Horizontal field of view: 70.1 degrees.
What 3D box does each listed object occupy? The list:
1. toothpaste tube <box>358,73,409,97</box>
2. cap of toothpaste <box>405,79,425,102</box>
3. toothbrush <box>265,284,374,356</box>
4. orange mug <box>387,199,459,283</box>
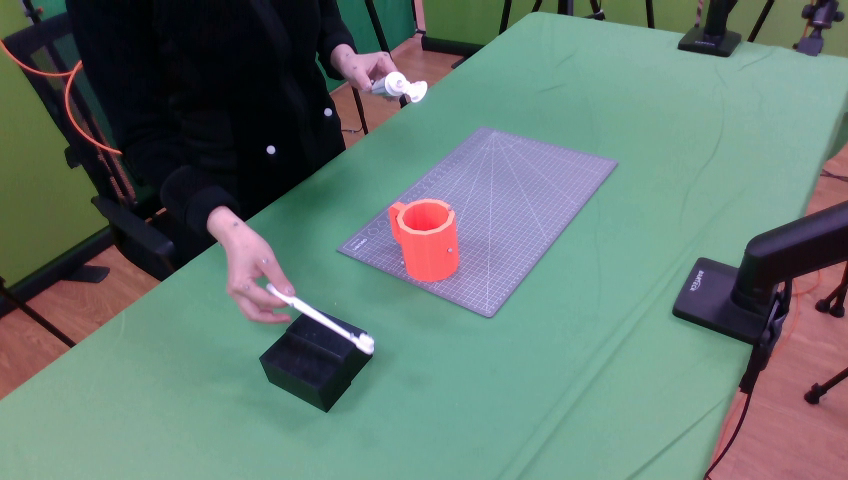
[{"bbox_3d":[-0.059,-0.243,0.962,0.055,0.034,0.164,-1,10,-20],"label":"toothpaste tube"},{"bbox_3d":[-0.013,-0.221,0.889,0.037,0.011,0.037,-22,57,40],"label":"cap of toothpaste"},{"bbox_3d":[-0.135,0.097,0.765,0.180,0.016,0.014,26,32,24],"label":"toothbrush"},{"bbox_3d":[-0.006,-0.007,0.922,0.125,0.101,0.084,32,54,32],"label":"orange mug"}]
